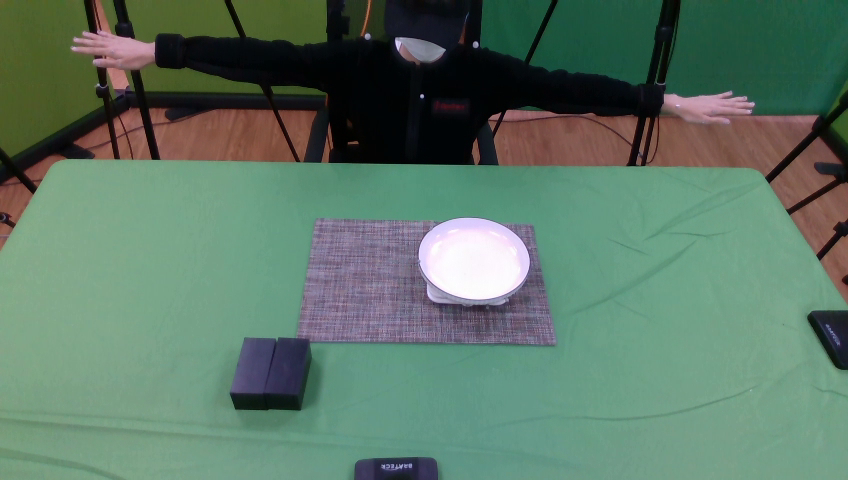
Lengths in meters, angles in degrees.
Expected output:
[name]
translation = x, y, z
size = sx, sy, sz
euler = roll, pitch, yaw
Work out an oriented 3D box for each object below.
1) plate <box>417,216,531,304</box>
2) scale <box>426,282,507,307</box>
[plate]
translation = 0.089, 0.039, 1.110
size = 0.208, 0.039, 0.206
euler = 2, 46, -1
[scale]
translation = 0.078, 0.043, 1.152
size = 0.149, 0.032, 0.199
euler = 3, 45, -2
